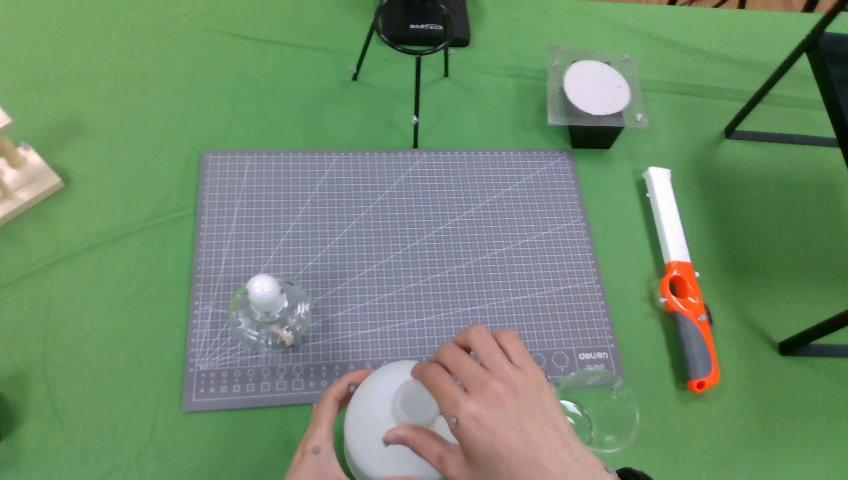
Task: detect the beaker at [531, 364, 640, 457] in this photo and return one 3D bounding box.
[{"bbox_3d":[0.146,0.165,0.579,0.084,0.101,0.073,29,64,8],"label":"beaker"}]

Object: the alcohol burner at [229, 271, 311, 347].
[{"bbox_3d":[-0.147,0.060,0.577,0.078,0.120,0.077,4,63,-8],"label":"alcohol burner"}]

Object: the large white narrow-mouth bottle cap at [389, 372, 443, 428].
[{"bbox_3d":[-0.006,0.114,0.433,0.038,0.024,0.037,3,64,-6],"label":"large white narrow-mouth bottle cap"}]

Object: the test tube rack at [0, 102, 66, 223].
[{"bbox_3d":[-0.495,-0.031,0.589,0.066,0.085,0.242,43,66,13],"label":"test tube rack"}]

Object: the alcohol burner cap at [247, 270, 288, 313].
[{"bbox_3d":[-0.142,0.045,0.544,0.034,0.048,0.033,1,70,-4],"label":"alcohol burner cap"}]

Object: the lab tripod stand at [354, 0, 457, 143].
[{"bbox_3d":[-0.014,-0.212,0.717,0.149,0.132,0.147,4,65,-8],"label":"lab tripod stand"}]

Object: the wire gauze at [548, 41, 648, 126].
[{"bbox_3d":[0.213,-0.194,0.755,0.121,0.011,0.124,6,64,-5],"label":"wire gauze"}]

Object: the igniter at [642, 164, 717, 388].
[{"bbox_3d":[0.293,0.033,0.702,0.057,0.025,0.274,6,64,-17],"label":"igniter"}]

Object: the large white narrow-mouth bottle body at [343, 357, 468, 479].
[{"bbox_3d":[-0.017,0.153,0.508,0.102,0.196,0.101,3,63,-6],"label":"large white narrow-mouth bottle body"}]
